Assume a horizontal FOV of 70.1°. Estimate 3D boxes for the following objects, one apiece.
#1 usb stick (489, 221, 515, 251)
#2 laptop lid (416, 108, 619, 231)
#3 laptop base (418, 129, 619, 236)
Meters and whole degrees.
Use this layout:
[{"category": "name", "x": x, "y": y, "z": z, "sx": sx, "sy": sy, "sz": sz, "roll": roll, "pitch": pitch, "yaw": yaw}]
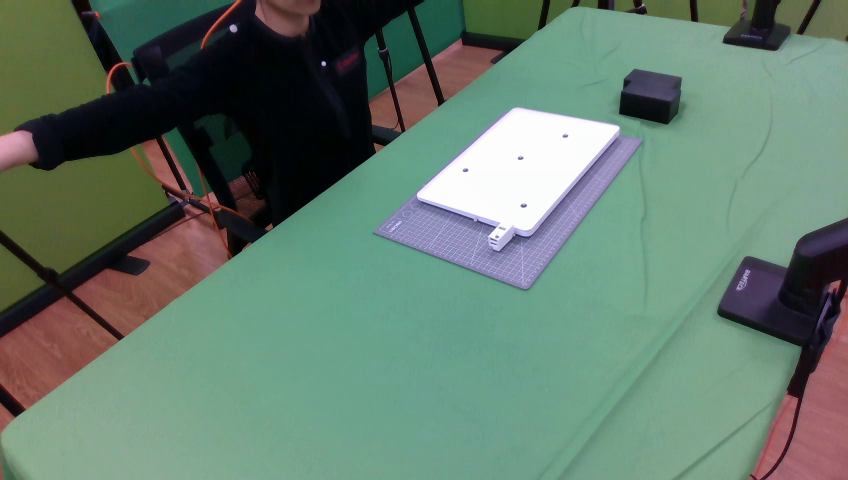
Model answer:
[{"category": "usb stick", "x": 0.127, "y": -0.011, "z": 0.954, "sx": 0.021, "sy": 0.027, "sz": 0.059, "roll": 22, "pitch": 47, "yaw": 34}, {"category": "laptop lid", "x": 0.176, "y": -0.147, "z": 1.106, "sx": 0.239, "sy": 0.013, "sz": 0.357, "roll": 21, "pitch": 48, "yaw": 34}, {"category": "laptop base", "x": 0.180, "y": -0.137, "z": 1.112, "sx": 0.233, "sy": 0.023, "sz": 0.355, "roll": 19, "pitch": 47, "yaw": 33}]
